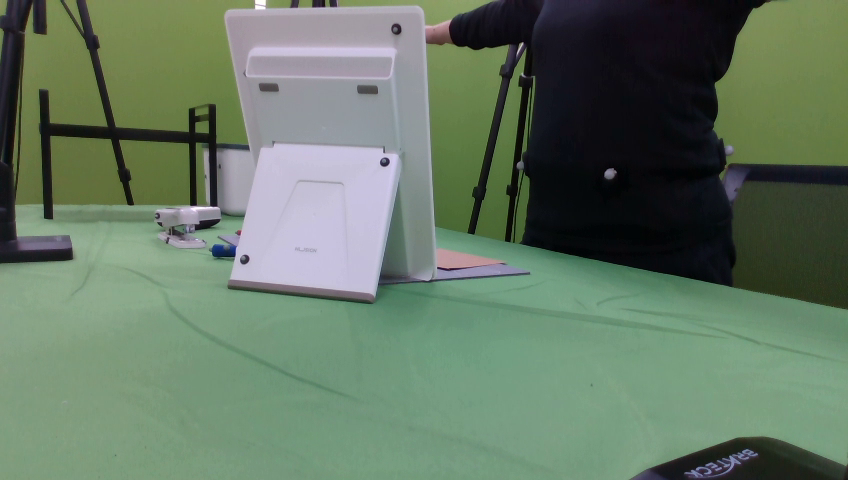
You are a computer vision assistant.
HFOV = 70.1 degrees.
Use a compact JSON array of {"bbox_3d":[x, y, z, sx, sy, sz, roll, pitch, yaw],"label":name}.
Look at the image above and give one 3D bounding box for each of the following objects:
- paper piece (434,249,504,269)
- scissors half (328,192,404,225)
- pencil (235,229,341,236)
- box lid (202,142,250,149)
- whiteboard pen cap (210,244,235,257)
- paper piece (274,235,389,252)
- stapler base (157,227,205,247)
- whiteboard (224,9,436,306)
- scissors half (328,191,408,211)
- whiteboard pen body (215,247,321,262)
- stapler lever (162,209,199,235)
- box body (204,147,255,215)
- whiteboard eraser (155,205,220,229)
[{"bbox_3d":[0.025,0.026,0.865,0.134,0.004,0.136,9,9,43],"label":"paper piece"},{"bbox_3d":[-0.127,-0.072,1.321,0.175,0.040,0.013,22,2,-5],"label":"scissors half"},{"bbox_3d":[-0.232,-0.012,1.053,0.195,0.012,0.012,0,8,-36],"label":"pencil"},{"bbox_3d":[-0.344,-0.225,1.509,0.373,0.015,0.262,-2,8,-31],"label":"box lid"},{"bbox_3d":[-0.266,0.015,0.806,0.033,0.018,0.018,3,7,-1],"label":"whiteboard pen cap"},{"bbox_3d":[-0.151,0.003,0.978,0.135,0.008,0.139,13,10,35],"label":"paper piece"},{"bbox_3d":[-0.376,-0.007,0.935,0.041,0.024,0.130,1,5,-38],"label":"stapler base"},{"bbox_3d":[-0.117,-0.065,0.617,0.217,0.305,0.144,5,29,16],"label":"whiteboard"},{"bbox_3d":[-0.123,-0.091,1.318,0.175,0.040,0.013,6,9,-4],"label":"scissors half"},{"bbox_3d":[-0.208,0.018,0.805,0.141,0.017,0.017,2,7,1],"label":"whiteboard pen body"},{"bbox_3d":[-0.376,-0.031,0.933,0.027,0.040,0.117,1,7,-38],"label":"stapler lever"},{"bbox_3d":[-0.347,-0.152,1.519,0.366,0.160,0.253,-2,9,-31],"label":"box body"},{"bbox_3d":[-0.428,-0.041,1.100,0.055,0.042,0.113,7,8,19],"label":"whiteboard eraser"}]
